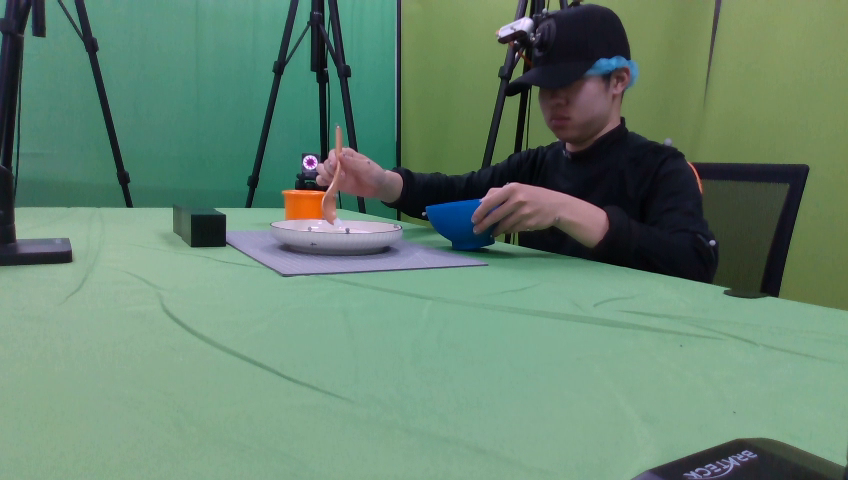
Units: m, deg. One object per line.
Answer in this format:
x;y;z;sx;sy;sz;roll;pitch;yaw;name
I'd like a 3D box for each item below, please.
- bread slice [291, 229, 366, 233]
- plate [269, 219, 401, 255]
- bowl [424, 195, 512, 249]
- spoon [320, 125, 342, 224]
-0.143;-0.003;0.953;0.135;0.018;0.106;-1;8;-37;bread slice
-0.140;-0.006;0.958;0.209;0.038;0.209;3;7;0;plate
0.079;-0.028;1.029;0.151;0.077;0.151;-7;5;1;bowl
-0.147;-0.111;0.996;0.021;0.193;0.042;-9;-31;25;spoon
